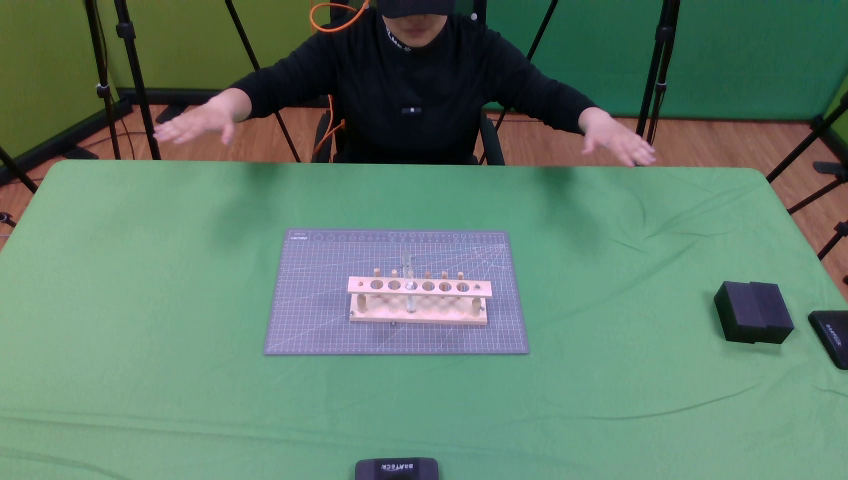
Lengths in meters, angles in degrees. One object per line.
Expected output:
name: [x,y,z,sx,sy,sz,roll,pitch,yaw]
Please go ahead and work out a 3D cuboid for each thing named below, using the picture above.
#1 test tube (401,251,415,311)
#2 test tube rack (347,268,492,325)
test tube: [-0.026,0.072,1.011,0.017,0.151,0.017,-1,48,2]
test tube rack: [-0.009,0.095,1.059,0.242,0.085,0.066,2,46,-2]
